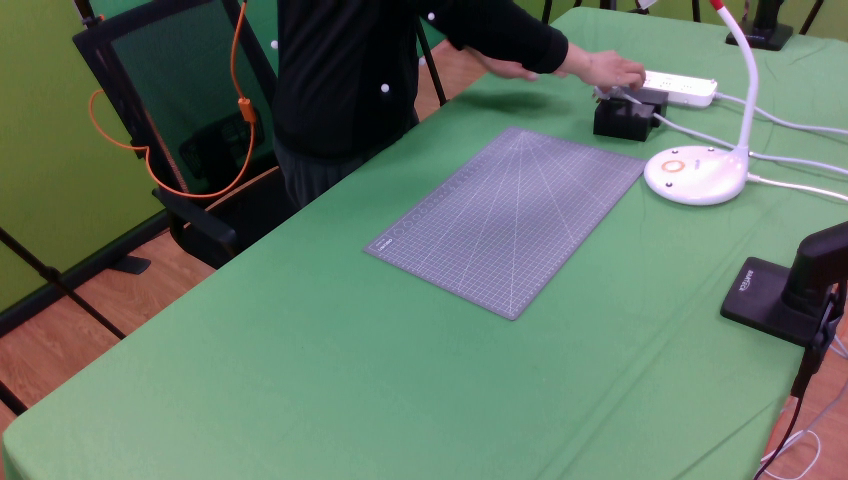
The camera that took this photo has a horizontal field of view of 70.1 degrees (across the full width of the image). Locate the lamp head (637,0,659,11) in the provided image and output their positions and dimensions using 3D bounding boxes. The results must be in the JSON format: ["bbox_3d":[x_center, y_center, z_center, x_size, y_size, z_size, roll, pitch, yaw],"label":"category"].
[{"bbox_3d":[0.330,-0.391,0.827,0.122,0.113,0.112,-21,35,25],"label":"lamp head"}]

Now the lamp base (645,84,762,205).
[{"bbox_3d":[0.461,-0.170,0.975,0.179,0.181,0.160,3,41,11],"label":"lamp base"}]

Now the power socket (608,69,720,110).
[{"bbox_3d":[0.492,-0.316,1.256,0.225,0.033,0.072,20,49,30],"label":"power socket"}]

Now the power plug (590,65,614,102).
[{"bbox_3d":[0.353,-0.305,1.196,0.035,0.052,0.072,38,44,-12],"label":"power plug"}]
